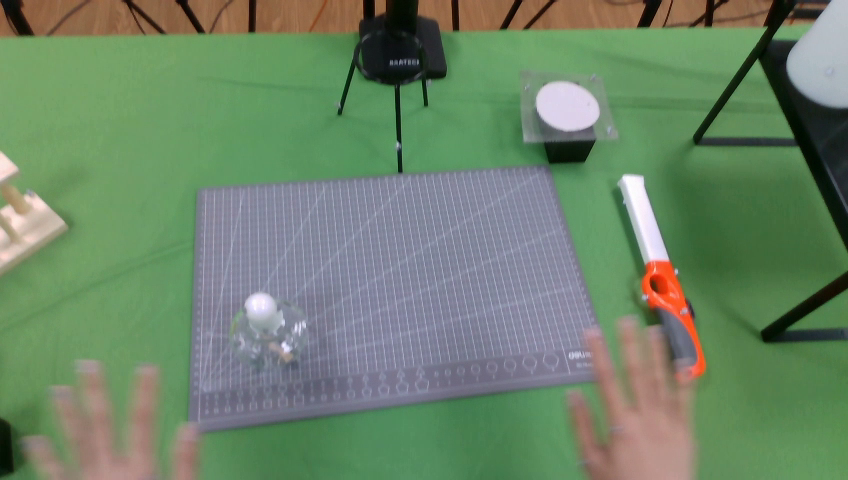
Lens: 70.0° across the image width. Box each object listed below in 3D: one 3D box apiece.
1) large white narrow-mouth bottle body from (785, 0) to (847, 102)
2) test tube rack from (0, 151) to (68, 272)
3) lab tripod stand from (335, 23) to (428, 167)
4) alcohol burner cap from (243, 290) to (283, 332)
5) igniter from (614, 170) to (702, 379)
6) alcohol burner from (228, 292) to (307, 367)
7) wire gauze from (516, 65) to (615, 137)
[{"bbox_3d":[0.458,-0.236,0.599,0.102,0.196,0.101,3,60,-4],"label":"large white narrow-mouth bottle body"},{"bbox_3d":[-0.510,0.018,0.620,0.066,0.086,0.242,38,63,15],"label":"test tube rack"},{"bbox_3d":[-0.044,-0.188,0.762,0.148,0.132,0.147,4,61,-6],"label":"lab tripod stand"},{"bbox_3d":[-0.154,0.065,0.571,0.034,0.048,0.033,1,66,-2],"label":"alcohol burner cap"},{"bbox_3d":[0.280,0.032,0.732,0.057,0.025,0.274,3,60,-17],"label":"igniter"},{"bbox_3d":[-0.157,0.082,0.603,0.078,0.120,0.077,4,58,-6],"label":"alcohol burner"},{"bbox_3d":[0.184,-0.184,0.800,0.121,0.011,0.124,2,60,-5],"label":"wire gauze"}]
